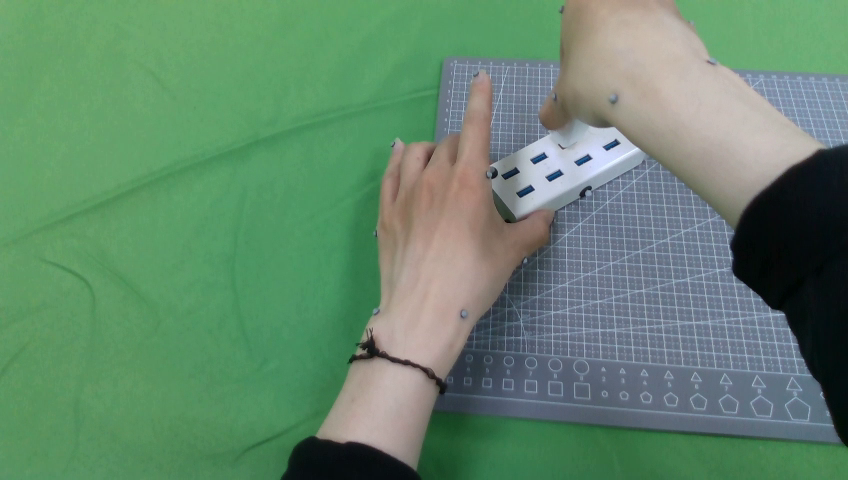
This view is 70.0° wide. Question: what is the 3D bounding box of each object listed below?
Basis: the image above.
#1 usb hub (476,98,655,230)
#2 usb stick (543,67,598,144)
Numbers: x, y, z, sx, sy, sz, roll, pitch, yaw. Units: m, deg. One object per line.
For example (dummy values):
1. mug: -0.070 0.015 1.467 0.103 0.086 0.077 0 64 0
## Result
1. usb hub: 0.103 -0.058 0.441 0.125 0.025 0.049 -28 64 -14
2. usb stick: 0.100 -0.089 0.421 0.021 0.059 0.027 -30 65 -13
